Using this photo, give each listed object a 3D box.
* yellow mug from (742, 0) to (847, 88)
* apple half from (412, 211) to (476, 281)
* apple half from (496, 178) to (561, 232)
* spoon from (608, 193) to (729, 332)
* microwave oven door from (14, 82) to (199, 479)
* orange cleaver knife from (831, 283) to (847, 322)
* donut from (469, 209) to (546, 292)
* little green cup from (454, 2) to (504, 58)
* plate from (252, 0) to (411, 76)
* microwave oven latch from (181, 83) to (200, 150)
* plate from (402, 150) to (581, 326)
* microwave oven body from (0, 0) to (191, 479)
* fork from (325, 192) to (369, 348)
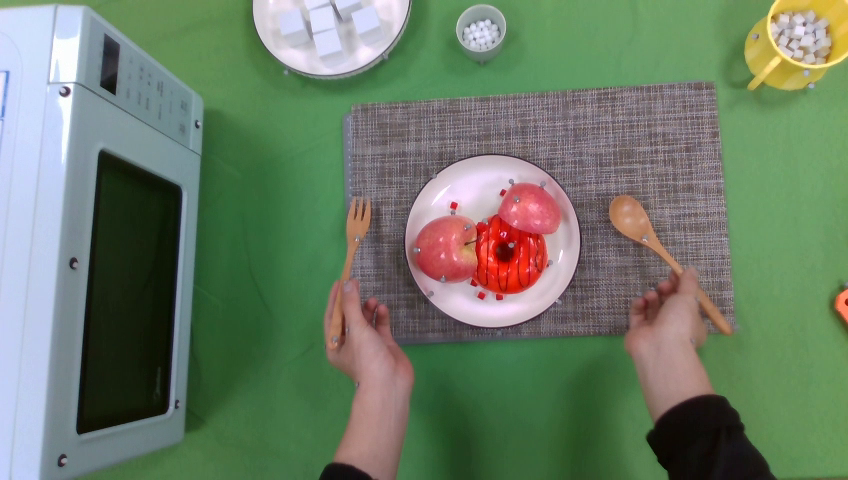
[{"bbox_3d":[0.421,-0.226,0.700,0.131,0.064,0.099,-45,81,0],"label":"yellow mug"},{"bbox_3d":[0.018,0.005,0.694,0.074,0.054,0.080,-7,78,47],"label":"apple half"},{"bbox_3d":[0.125,-0.046,0.694,0.081,0.033,0.080,8,45,-8],"label":"apple half"},{"bbox_3d":[0.275,0.024,0.683,0.041,0.022,0.192,-28,68,-18],"label":"spoon"},{"bbox_3d":[-0.317,0.047,0.638,0.039,0.245,0.354,-1,82,7],"label":"microwave oven door"},{"bbox_3d":[0.521,0.134,0.667,0.077,0.012,0.210,-18,80,-1],"label":"orange cleaver knife"},{"bbox_3d":[0.092,0.012,0.705,0.099,0.048,0.099,-1,85,7],"label":"donut"},{"bbox_3d":[0.069,-0.260,0.757,0.061,0.039,0.061,-1,82,7],"label":"little green cup"},{"bbox_3d":[-0.117,-0.308,0.783,0.207,0.039,0.207,-1,83,6],"label":"plate"},{"bbox_3d":[-0.301,-0.156,0.765,0.030,0.029,0.079,1,83,6],"label":"microwave oven latch"},{"bbox_3d":[0.079,-0.003,0.720,0.209,0.038,0.208,-1,83,7],"label":"plate"},{"bbox_3d":[-0.461,0.007,0.664,0.326,0.261,0.440,0,83,6],"label":"microwave oven body"},{"bbox_3d":[-0.089,0.028,0.695,0.028,0.019,0.205,10,54,-5],"label":"fork"}]
